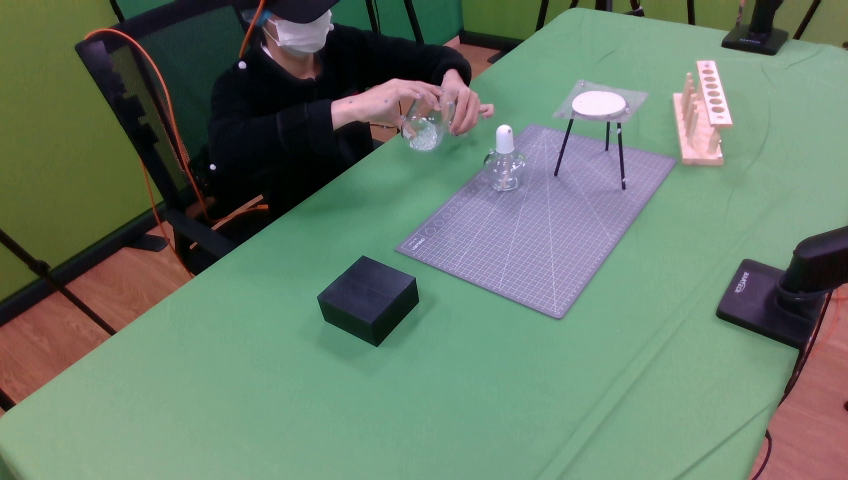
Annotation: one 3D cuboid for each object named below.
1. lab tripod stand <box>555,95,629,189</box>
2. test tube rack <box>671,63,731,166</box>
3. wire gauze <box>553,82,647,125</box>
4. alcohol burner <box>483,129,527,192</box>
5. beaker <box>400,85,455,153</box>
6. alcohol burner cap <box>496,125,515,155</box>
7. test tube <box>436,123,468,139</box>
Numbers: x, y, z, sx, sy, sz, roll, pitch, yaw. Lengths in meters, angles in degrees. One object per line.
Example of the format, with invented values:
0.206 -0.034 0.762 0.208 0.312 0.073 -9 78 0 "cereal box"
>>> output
0.300 -0.174 1.045 0.148 0.132 0.147 -5 38 5 "lab tripod stand"
0.513 -0.241 1.132 0.066 0.085 0.242 4 41 14 "test tube rack"
0.293 -0.225 1.002 0.120 0.011 0.125 17 45 27 "wire gauze"
0.141 -0.144 1.050 0.078 0.119 0.077 -4 42 4 "alcohol burner"
0.006 -0.195 1.001 0.073 0.084 0.100 -1 41 20 "beaker"
0.138 -0.172 1.028 0.034 0.048 0.033 -5 38 4 "alcohol burner cap"
0.054 -0.202 1.125 0.017 0.017 0.151 10 8 21 "test tube"
